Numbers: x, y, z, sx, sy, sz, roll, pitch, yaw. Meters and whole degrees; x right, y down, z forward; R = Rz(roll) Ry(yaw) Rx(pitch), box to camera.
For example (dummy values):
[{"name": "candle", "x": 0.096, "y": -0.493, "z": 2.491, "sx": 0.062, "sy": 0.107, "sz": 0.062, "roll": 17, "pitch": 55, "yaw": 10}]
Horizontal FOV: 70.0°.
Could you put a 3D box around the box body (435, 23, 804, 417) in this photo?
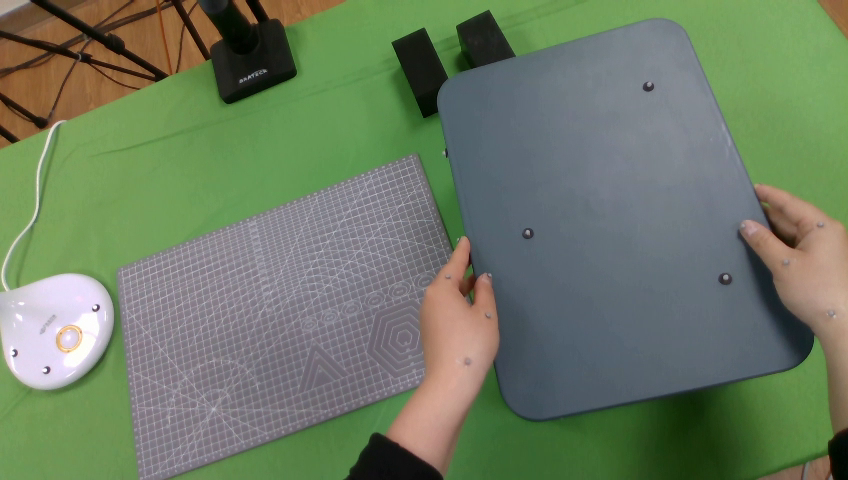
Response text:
[{"name": "box body", "x": 0.178, "y": -0.013, "z": 0.646, "sx": 0.254, "sy": 0.162, "sz": 0.361, "roll": -15, "pitch": 67, "yaw": 7}]

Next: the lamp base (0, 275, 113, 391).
[{"name": "lamp base", "x": -0.522, "y": 0.093, "z": 0.753, "sx": 0.178, "sy": 0.182, "sz": 0.160, "roll": 16, "pitch": 73, "yaw": 21}]

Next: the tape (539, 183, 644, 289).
[{"name": "tape", "x": 0.191, "y": -0.005, "z": 0.693, "sx": 0.116, "sy": 0.053, "sz": 0.116, "roll": -4, "pitch": 68, "yaw": 11}]

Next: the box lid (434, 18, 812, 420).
[{"name": "box lid", "x": 0.163, "y": -0.039, "z": 0.571, "sx": 0.263, "sy": 0.015, "sz": 0.368, "roll": -14, "pitch": 68, "yaw": 7}]
